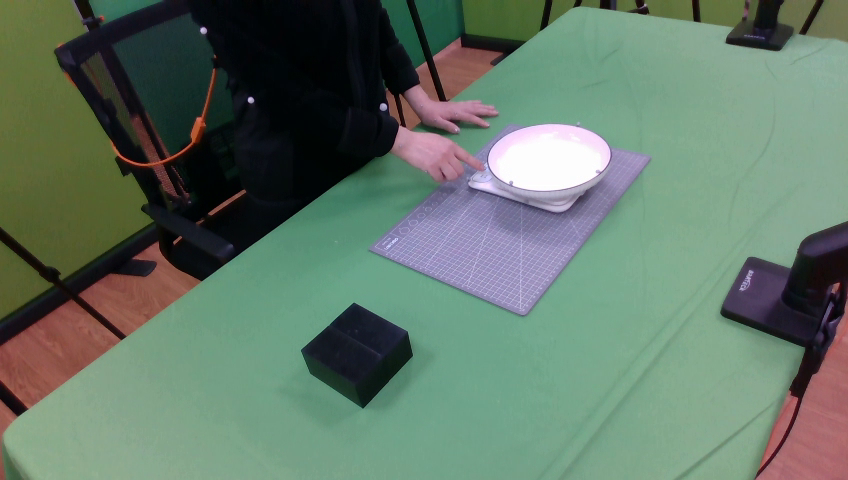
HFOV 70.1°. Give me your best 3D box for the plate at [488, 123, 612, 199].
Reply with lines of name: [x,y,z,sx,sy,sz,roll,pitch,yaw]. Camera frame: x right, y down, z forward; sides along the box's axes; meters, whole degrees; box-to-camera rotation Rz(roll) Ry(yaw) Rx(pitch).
plate: [0.214,-0.132,1.037,0.209,0.038,0.208,-6,41,5]

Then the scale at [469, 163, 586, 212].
scale: [0.195,-0.117,1.076,0.199,0.032,0.149,21,48,32]
